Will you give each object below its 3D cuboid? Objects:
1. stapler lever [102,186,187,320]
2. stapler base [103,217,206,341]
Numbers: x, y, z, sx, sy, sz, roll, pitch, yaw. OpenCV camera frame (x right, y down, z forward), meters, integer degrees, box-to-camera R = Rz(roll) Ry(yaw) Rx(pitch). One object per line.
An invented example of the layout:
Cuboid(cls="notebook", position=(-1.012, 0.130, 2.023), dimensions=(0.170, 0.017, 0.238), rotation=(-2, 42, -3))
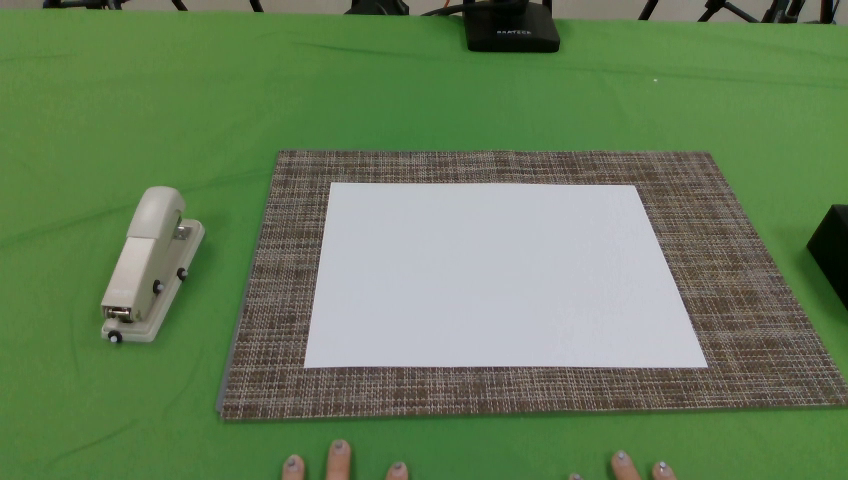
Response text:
Cuboid(cls="stapler lever", position=(-0.216, 0.006, 0.472), dimensions=(0.027, 0.040, 0.117), rotation=(3, 47, 3))
Cuboid(cls="stapler base", position=(-0.217, 0.022, 0.492), dimensions=(0.041, 0.024, 0.129), rotation=(3, 47, 3))
